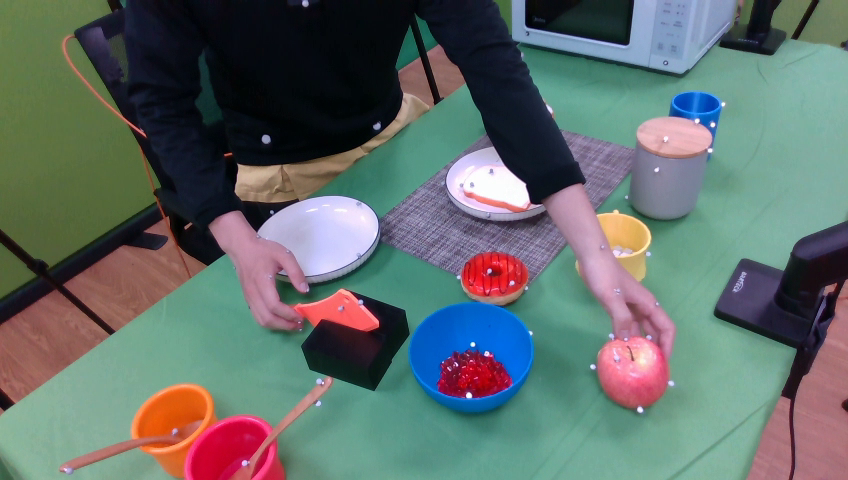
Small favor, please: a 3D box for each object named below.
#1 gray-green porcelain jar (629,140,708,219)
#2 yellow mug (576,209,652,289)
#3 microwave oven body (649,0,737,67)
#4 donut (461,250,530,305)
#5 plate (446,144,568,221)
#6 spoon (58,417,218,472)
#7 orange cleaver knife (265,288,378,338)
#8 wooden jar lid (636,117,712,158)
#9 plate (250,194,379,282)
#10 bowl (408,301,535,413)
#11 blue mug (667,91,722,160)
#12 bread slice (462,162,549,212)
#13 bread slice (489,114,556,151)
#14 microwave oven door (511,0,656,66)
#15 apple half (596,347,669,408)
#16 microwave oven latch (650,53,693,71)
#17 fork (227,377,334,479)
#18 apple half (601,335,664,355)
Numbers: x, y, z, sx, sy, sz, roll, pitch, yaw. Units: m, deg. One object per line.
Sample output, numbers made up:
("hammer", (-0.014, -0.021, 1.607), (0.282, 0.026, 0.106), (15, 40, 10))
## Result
("gray-green porcelain jar", (0.383, -0.105, 0.958), (0.106, 0.127, 0.105), (-4, 41, 4))
("yellow mug", (0.279, 0.004, 0.893), (0.099, 0.064, 0.130), (6, 42, 14))
("microwave oven body", (0.475, -0.602, 1.411), (0.438, 0.261, 0.327), (23, 50, 32))
("donut", (0.103, 0.053, 0.872), (0.099, 0.048, 0.098), (-5, 40, 4))
("plate", (0.142, -0.096, 1.045), (0.207, 0.039, 0.206), (-4, 40, 4))
("spoon", (-0.304, 0.221, 0.661), (0.041, 0.195, 0.021), (21, 93, 26))
("orange cleaver knife", (-0.143, 0.105, 0.823), (0.210, 0.077, 0.012), (-12, 29, 43))
("wooden jar lid", (0.377, -0.151, 0.917), (0.108, 0.021, 0.108), (-2, 41, 3))
("plate", (-0.174, -0.001, 0.984), (0.209, 0.038, 0.208), (-3, 40, 3))
("bowl", (0.060, 0.156, 0.739), (0.151, 0.077, 0.150), (-4, 40, 4))
("blue mug", (0.474, -0.207, 1.079), (0.082, 0.106, 0.116), (4, 42, 13))
("bread slice", (0.135, -0.093, 1.045), (0.133, 0.018, 0.107), (15, 45, 23))
("bread slice", (0.193, -0.202, 1.167), (0.105, 0.019, 0.130), (-12, 37, -5))
("microwave oven door", (0.350, -0.539, 1.348), (0.353, 0.245, 0.039), (24, 50, 31))
("apple half", (0.243, 0.165, 0.704), (0.080, 0.075, 0.053), (3, 44, 12))
("microwave oven latch", (0.531, -0.386, 1.301), (0.078, 0.029, 0.030), (25, 51, 33))
("fork", (-0.162, 0.216, 0.647), (0.207, 0.019, 0.028), (-49, 41, 16))
("apple half", (0.250, 0.140, 0.733), (0.081, 0.081, 0.032), (2, 43, 11))
